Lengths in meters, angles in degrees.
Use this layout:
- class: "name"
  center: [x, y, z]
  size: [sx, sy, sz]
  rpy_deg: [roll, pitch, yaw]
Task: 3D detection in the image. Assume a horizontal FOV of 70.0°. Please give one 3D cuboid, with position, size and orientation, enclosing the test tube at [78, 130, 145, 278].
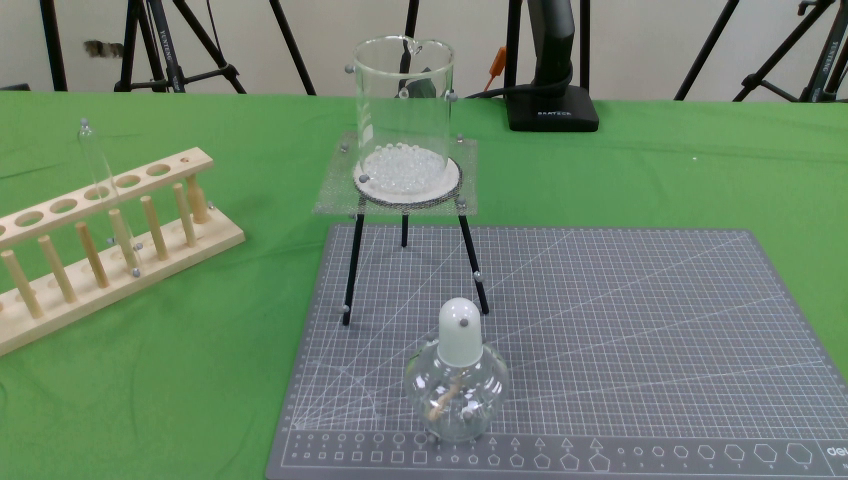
- class: "test tube"
  center: [-0.272, -0.027, 0.532]
  size: [0.017, 0.151, 0.017]
  rpy_deg: [1, 37, 0]

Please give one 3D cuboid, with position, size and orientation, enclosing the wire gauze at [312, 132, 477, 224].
- class: "wire gauze"
  center: [-0.018, -0.052, 0.486]
  size: [0.121, 0.011, 0.124]
  rpy_deg: [3, 41, 3]

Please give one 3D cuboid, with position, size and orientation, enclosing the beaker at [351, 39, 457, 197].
- class: "beaker"
  center: [-0.015, -0.091, 0.458]
  size: [0.074, 0.101, 0.083]
  rpy_deg: [8, 39, 7]

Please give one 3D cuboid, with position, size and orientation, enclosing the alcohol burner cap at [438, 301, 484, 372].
- class: "alcohol burner cap"
  center: [0.025, 0.062, 0.408]
  size: [0.034, 0.048, 0.033]
  rpy_deg: [-1, 38, 2]

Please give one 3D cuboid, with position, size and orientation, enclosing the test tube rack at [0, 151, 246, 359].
- class: "test tube rack"
  center: [-0.297, 0.007, 0.561]
  size: [0.242, 0.086, 0.066]
  rpy_deg: [-30, 47, -32]

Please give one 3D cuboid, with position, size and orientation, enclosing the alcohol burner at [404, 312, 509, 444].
- class: "alcohol burner"
  center: [0.024, 0.090, 0.430]
  size: [0.078, 0.120, 0.077]
  rpy_deg: [1, 40, 0]

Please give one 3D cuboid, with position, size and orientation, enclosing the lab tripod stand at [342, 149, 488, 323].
- class: "lab tripod stand"
  center: [-0.009, -0.001, 0.529]
  size: [0.148, 0.132, 0.147]
  rpy_deg: [2, 37, -1]
